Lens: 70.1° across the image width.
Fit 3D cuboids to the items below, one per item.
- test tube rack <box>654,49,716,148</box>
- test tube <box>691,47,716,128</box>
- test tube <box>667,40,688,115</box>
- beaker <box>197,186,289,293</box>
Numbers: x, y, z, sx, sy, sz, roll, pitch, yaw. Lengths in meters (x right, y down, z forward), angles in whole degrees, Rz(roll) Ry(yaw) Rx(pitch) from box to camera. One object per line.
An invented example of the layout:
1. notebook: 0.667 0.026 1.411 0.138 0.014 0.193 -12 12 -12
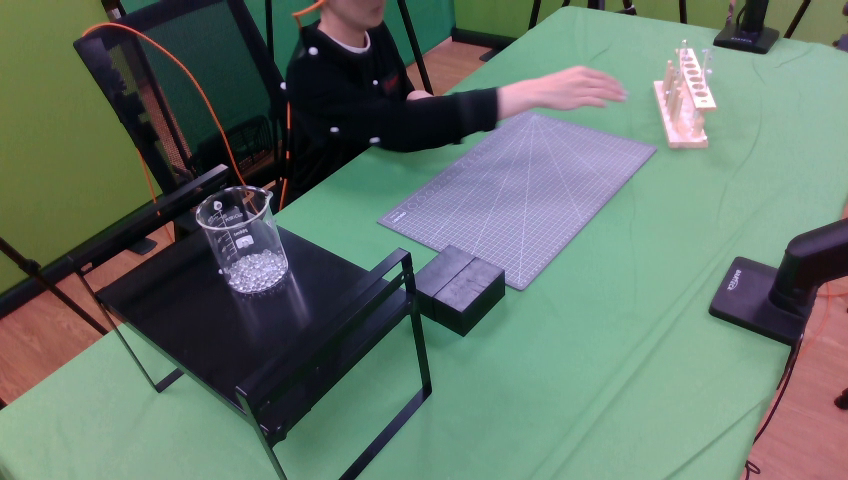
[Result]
1. test tube rack: 0.502 -0.281 1.176 0.066 0.085 0.241 1 41 11
2. test tube: 0.503 -0.272 1.090 0.017 0.151 0.017 -3 36 3
3. test tube: 0.477 -0.303 1.138 0.017 0.151 0.017 -5 42 5
4. beaker: -0.192 0.001 0.666 0.084 0.101 0.073 -33 47 -27
